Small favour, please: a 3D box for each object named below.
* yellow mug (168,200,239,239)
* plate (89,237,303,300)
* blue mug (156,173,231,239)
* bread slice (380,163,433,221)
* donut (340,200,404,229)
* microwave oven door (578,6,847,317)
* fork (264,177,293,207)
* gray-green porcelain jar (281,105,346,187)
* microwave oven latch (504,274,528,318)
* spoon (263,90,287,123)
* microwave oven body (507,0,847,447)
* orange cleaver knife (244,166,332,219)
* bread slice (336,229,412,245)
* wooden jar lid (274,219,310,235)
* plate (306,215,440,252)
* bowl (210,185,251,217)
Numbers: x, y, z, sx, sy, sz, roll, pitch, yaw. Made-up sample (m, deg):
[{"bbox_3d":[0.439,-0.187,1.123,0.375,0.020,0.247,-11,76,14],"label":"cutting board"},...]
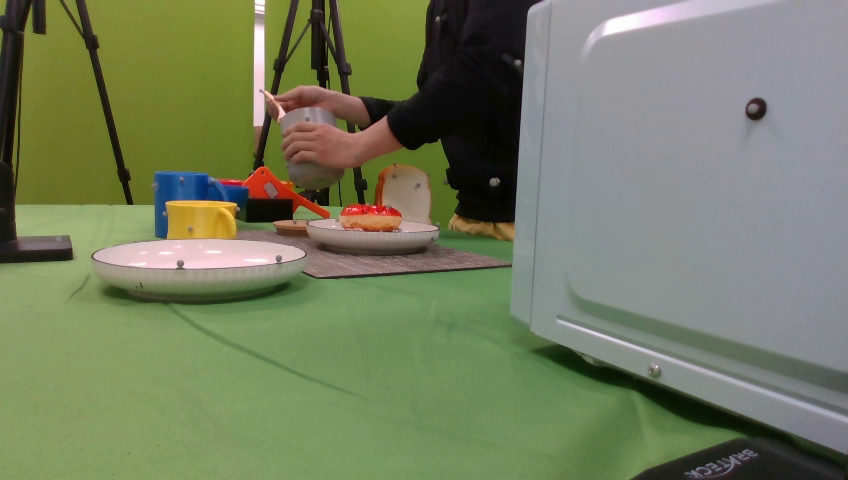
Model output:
[{"bbox_3d":[-0.320,-0.023,0.904,0.130,0.064,0.100,9,10,36],"label":"yellow mug"},{"bbox_3d":[-0.233,0.029,0.637,0.208,0.039,0.207,2,7,0],"label":"plate"},{"bbox_3d":[-0.381,-0.057,1.004,0.117,0.106,0.082,0,8,-12],"label":"blue mug"},{"bbox_3d":[-0.035,-0.076,1.125,0.107,0.134,0.018,-3,1,-25],"label":"bread slice"},{"bbox_3d":[-0.081,-0.038,0.945,0.099,0.048,0.099,1,5,0],"label":"donut"},{"bbox_3d":[0.294,-0.067,0.570,0.358,0.243,0.039,-3,9,-31],"label":"microwave oven door"},{"bbox_3d":[-0.331,-0.143,1.505,0.207,0.018,0.028,-42,-22,22],"label":"fork"},{"bbox_3d":[-0.204,-0.169,1.125,0.106,0.126,0.106,-12,-15,-3],"label":"gray-green porcelain jar"},{"bbox_3d":[0.100,0.041,0.471,0.079,0.029,0.030,-1,8,-28],"label":"microwave oven latch"},{"bbox_3d":[-0.293,-0.269,1.227,0.042,0.021,0.193,2,34,-34],"label":"spoon"},{"bbox_3d":[0.331,-0.042,0.425,0.444,0.260,0.324,-2,8,-31],"label":"microwave oven body"},{"bbox_3d":[-0.301,-0.089,1.351,0.212,0.077,0.012,32,-11,-34],"label":"orange cleaver knife"},{"bbox_3d":[-0.074,-0.005,0.938,0.105,0.019,0.131,-2,4,-18],"label":"bread slice"},{"bbox_3d":[-0.213,-0.023,1.080,0.108,0.020,0.108,3,7,0],"label":"wooden jar lid"},{"bbox_3d":[-0.079,-0.011,0.950,0.209,0.038,0.209,2,8,0],"label":"plate"},{"bbox_3d":[-0.408,-0.064,1.155,0.151,0.077,0.151,2,8,0],"label":"bowl"}]
